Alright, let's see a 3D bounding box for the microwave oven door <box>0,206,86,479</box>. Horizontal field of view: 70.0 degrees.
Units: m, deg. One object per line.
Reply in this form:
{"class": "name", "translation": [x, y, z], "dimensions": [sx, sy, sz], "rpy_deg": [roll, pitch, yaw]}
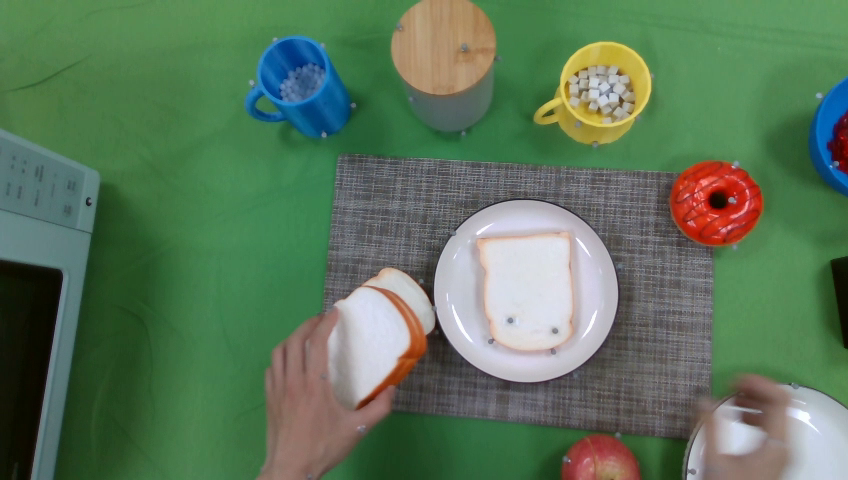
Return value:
{"class": "microwave oven door", "translation": [-0.457, 0.140, 0.609], "dimensions": [0.039, 0.244, 0.354], "rpy_deg": [4, 82, 6]}

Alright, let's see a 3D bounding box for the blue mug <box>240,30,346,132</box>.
{"class": "blue mug", "translation": [-0.158, -0.178, 0.713], "dimensions": [0.116, 0.106, 0.082], "rpy_deg": [-22, 80, 2]}

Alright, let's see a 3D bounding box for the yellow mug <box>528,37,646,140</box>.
{"class": "yellow mug", "translation": [0.184, -0.169, 0.703], "dimensions": [0.131, 0.064, 0.099], "rpy_deg": [-20, 81, 3]}

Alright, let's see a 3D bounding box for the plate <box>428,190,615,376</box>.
{"class": "plate", "translation": [0.108, 0.048, 0.691], "dimensions": [0.207, 0.039, 0.207], "rpy_deg": [-1, 83, 5]}

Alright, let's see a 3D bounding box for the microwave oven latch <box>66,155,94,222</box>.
{"class": "microwave oven latch", "translation": [-0.425, -0.063, 0.736], "dimensions": [0.030, 0.029, 0.079], "rpy_deg": [9, 84, 6]}

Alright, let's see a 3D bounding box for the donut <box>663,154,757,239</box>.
{"class": "donut", "translation": [0.320, -0.049, 0.682], "dimensions": [0.099, 0.048, 0.099], "rpy_deg": [-1, 83, 5]}

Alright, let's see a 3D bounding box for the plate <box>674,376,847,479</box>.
{"class": "plate", "translation": [0.371, 0.249, 0.645], "dimensions": [0.209, 0.038, 0.208], "rpy_deg": [-1, 82, 6]}

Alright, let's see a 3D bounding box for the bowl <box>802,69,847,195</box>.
{"class": "bowl", "translation": [0.482, -0.110, 0.663], "dimensions": [0.151, 0.077, 0.151], "rpy_deg": [-1, 83, 5]}

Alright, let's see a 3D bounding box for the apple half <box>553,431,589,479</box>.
{"class": "apple half", "translation": [0.153, 0.244, 0.646], "dimensions": [0.033, 0.081, 0.081], "rpy_deg": [-4, 81, 1]}

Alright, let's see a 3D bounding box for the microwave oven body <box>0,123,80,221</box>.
{"class": "microwave oven body", "translation": [-0.596, 0.087, 0.633], "dimensions": [0.326, 0.261, 0.440], "rpy_deg": [4, 83, 5]}

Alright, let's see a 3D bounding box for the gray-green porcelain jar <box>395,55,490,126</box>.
{"class": "gray-green porcelain jar", "translation": [0.022, -0.194, 0.690], "dimensions": [0.106, 0.127, 0.105], "rpy_deg": [-1, 82, 5]}

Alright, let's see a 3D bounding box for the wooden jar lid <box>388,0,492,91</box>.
{"class": "wooden jar lid", "translation": [0.016, -0.204, 0.629], "dimensions": [0.108, 0.021, 0.108], "rpy_deg": [-1, 80, 5]}

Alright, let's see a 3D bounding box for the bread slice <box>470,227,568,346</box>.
{"class": "bread slice", "translation": [0.114, 0.053, 0.692], "dimensions": [0.107, 0.018, 0.133], "rpy_deg": [-7, 80, 4]}

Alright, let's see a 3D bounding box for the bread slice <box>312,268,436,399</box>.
{"class": "bread slice", "translation": [-0.047, 0.100, 0.696], "dimensions": [0.105, 0.019, 0.131], "rpy_deg": [39, 85, 0]}

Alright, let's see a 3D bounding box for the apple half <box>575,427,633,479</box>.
{"class": "apple half", "translation": [0.192, 0.240, 0.644], "dimensions": [0.053, 0.075, 0.080], "rpy_deg": [-4, 80, -1]}
